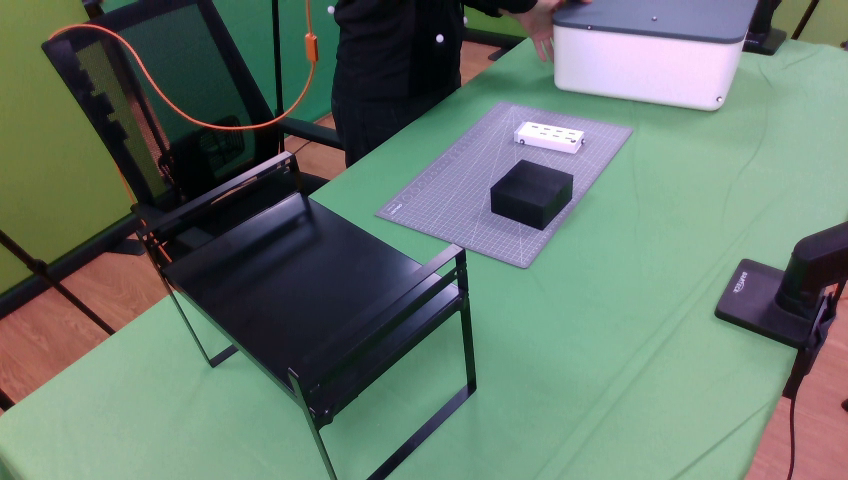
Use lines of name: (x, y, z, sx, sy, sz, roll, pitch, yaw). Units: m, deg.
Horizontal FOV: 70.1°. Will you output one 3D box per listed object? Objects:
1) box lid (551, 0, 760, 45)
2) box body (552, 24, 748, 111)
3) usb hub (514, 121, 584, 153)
box lid: (0.469, -0.473, 1.235, 0.369, 0.015, 0.263, 16, 46, 25)
box body: (0.479, -0.418, 1.282, 0.362, 0.161, 0.254, 16, 46, 25)
usb hub: (0.241, -0.200, 1.165, 0.124, 0.025, 0.049, 17, 46, 26)
